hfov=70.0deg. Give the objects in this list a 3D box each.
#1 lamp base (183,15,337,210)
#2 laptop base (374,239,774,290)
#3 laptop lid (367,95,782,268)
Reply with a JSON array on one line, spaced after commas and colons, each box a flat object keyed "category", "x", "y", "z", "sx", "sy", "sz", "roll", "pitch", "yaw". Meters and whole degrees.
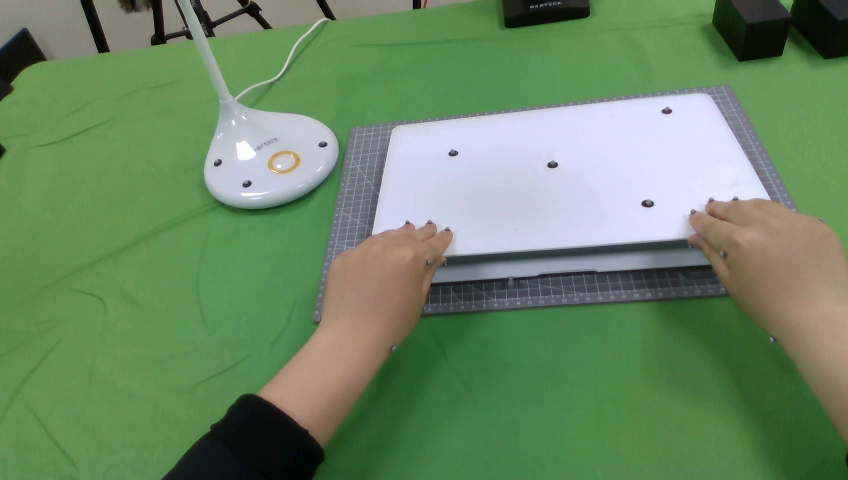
[{"category": "lamp base", "x": -0.204, "y": -0.150, "z": 0.671, "sx": 0.177, "sy": 0.182, "sz": 0.160, "roll": 27, "pitch": 57, "yaw": 35}, {"category": "laptop base", "x": 0.131, "y": -0.050, "z": 0.617, "sx": 0.354, "sy": 0.023, "sz": 0.233, "roll": -5, "pitch": 49, "yaw": 8}, {"category": "laptop lid", "x": 0.127, "y": -0.067, "z": 0.598, "sx": 0.356, "sy": 0.013, "sz": 0.239, "roll": -4, "pitch": 42, "yaw": 9}]
